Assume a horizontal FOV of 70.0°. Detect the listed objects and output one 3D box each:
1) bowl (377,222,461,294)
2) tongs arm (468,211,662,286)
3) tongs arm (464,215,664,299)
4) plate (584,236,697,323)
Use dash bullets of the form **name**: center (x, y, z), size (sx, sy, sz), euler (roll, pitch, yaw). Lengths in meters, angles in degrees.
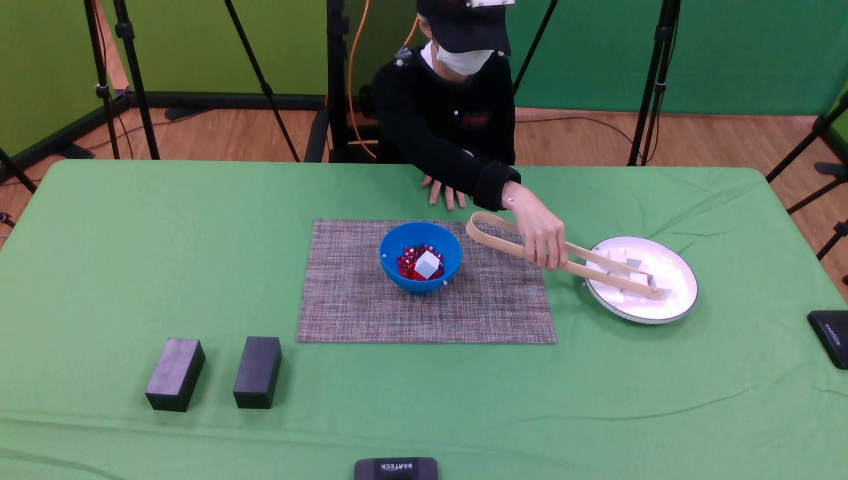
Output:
- **bowl**: center (-0.010, 0.046, 1.110), size (0.151, 0.077, 0.150), euler (2, 46, -2)
- **tongs arm**: center (0.259, 0.017, 1.114), size (0.388, 0.028, 0.028), euler (19, 50, -7)
- **tongs arm**: center (0.256, 0.033, 1.098), size (0.385, 0.026, 0.050), euler (16, 47, -10)
- **plate**: center (0.403, 0.078, 1.144), size (0.209, 0.038, 0.208), euler (2, 45, -2)
